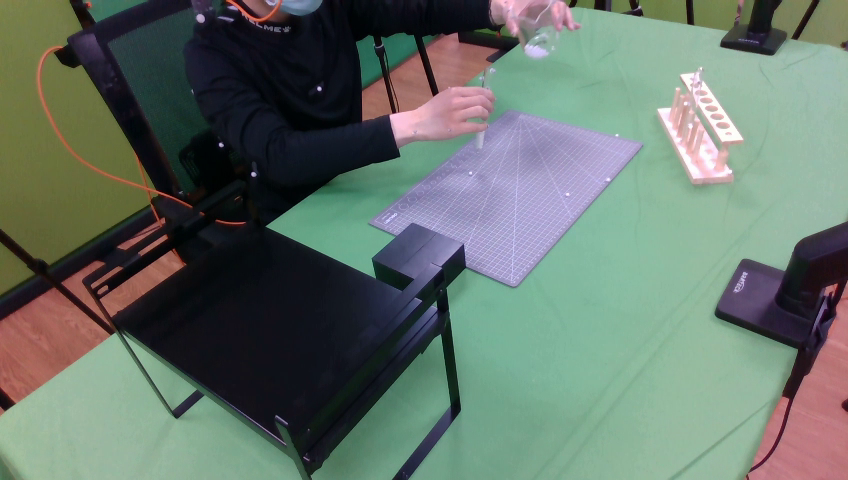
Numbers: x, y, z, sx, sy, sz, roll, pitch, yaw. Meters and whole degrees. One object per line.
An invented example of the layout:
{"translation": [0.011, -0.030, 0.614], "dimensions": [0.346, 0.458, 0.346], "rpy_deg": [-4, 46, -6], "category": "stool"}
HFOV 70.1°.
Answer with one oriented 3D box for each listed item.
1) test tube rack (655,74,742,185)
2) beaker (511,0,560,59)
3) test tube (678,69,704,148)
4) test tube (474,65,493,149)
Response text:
{"translation": [0.488, -0.205, 1.093], "dimensions": [0.067, 0.085, 0.241], "rpy_deg": [-3, 41, 5], "category": "test tube rack"}
{"translation": [0.206, -0.388, 1.100], "dimensions": [0.074, 0.101, 0.083], "rpy_deg": [-15, 52, 13], "category": "beaker"}
{"translation": [0.465, -0.228, 1.054], "dimensions": [0.017, 0.151, 0.017], "rpy_deg": [-3, 41, 3], "category": "test tube"}
{"translation": [0.105, -0.233, 1.073], "dimensions": [0.017, 0.150, 0.017], "rpy_deg": [4, 28, -2], "category": "test tube"}
